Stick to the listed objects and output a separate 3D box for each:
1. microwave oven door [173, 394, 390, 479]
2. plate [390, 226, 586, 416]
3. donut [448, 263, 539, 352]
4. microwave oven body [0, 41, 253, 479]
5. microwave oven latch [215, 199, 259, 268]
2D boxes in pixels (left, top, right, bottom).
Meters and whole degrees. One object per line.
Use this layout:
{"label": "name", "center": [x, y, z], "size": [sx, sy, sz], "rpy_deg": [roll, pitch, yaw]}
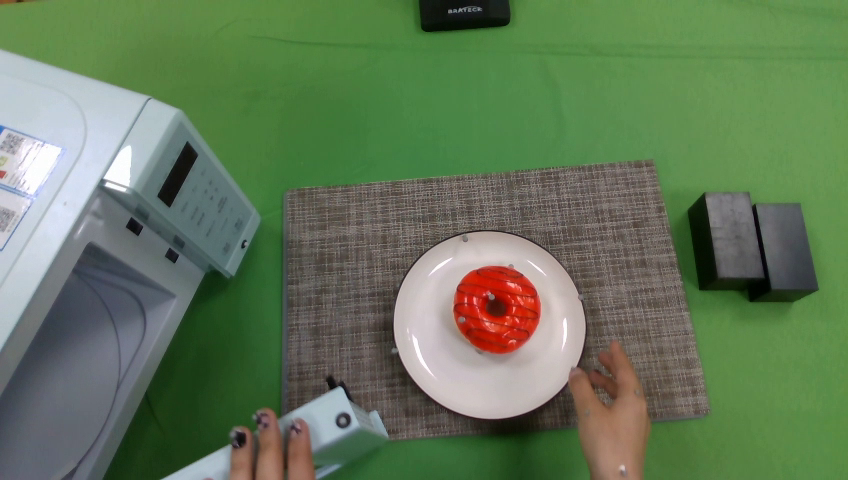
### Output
{"label": "microwave oven door", "center": [-0.203, 0.226, 0.497], "size": [0.356, 0.245, 0.039], "rpy_deg": [-26, 72, -8]}
{"label": "plate", "center": [0.069, 0.087, 0.662], "size": [0.209, 0.038, 0.207], "rpy_deg": [0, 71, 1]}
{"label": "donut", "center": [0.076, 0.072, 0.655], "size": [0.099, 0.048, 0.098], "rpy_deg": [1, 72, -1]}
{"label": "microwave oven body", "center": [-0.418, 0.067, 0.560], "size": [0.325, 0.261, 0.440], "rpy_deg": [19, 73, 7]}
{"label": "microwave oven latch", "center": [-0.215, -0.010, 0.685], "size": [0.030, 0.029, 0.079], "rpy_deg": [19, 73, 7]}
